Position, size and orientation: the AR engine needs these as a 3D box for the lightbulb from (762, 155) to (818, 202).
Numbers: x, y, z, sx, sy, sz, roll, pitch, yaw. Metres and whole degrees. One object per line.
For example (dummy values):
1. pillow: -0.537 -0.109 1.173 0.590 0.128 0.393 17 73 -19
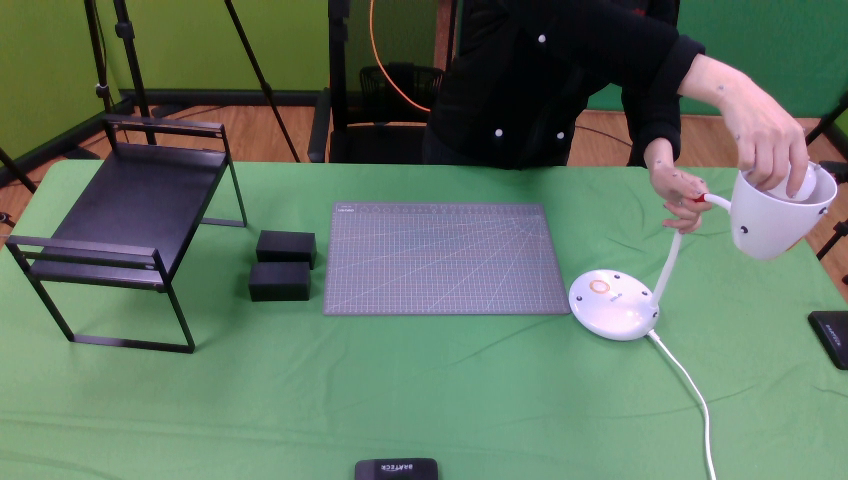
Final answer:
1. lightbulb: 0.447 -0.055 0.756 0.059 0.108 0.059 1 35 0

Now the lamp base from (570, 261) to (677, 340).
1. lamp base: 0.359 0.068 1.047 0.178 0.181 0.160 37 55 25

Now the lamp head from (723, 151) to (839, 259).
1. lamp head: 0.440 -0.038 0.773 0.112 0.123 0.111 1 46 -1
